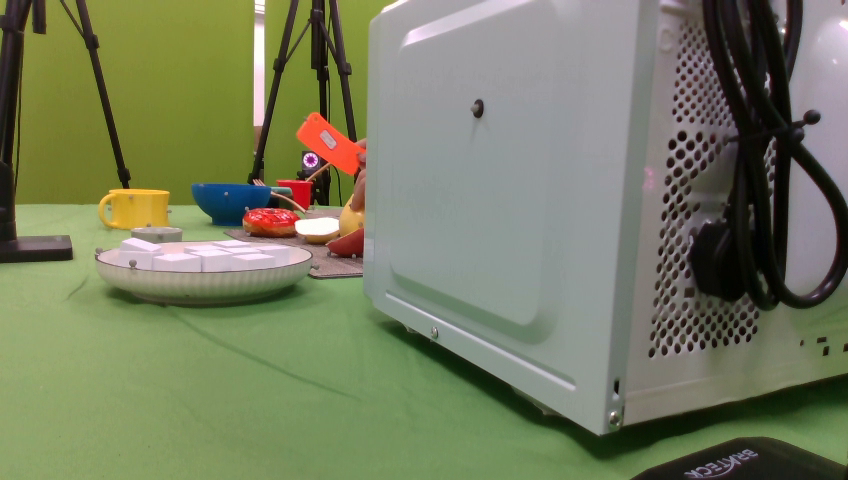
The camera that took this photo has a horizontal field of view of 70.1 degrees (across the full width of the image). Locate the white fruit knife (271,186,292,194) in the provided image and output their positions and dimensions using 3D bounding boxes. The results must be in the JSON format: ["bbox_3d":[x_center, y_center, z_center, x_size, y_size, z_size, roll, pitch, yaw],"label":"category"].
[{"bbox_3d":[-0.399,-0.111,1.368,0.208,0.016,0.027,-4,-20,-29],"label":"white fruit knife"}]

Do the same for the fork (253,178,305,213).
[{"bbox_3d":[-0.294,-0.084,1.293,0.206,0.018,0.028,29,11,26],"label":"fork"}]

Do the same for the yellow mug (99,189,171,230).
[{"bbox_3d":[-0.518,-0.055,1.080,0.099,0.064,0.131,7,9,26],"label":"yellow mug"}]

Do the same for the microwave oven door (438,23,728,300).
[{"bbox_3d":[0.181,-0.072,0.621,0.358,0.243,0.039,-2,8,-29],"label":"microwave oven door"}]

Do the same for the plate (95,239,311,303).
[{"bbox_3d":[-0.224,0.031,0.629,0.208,0.039,0.207,2,7,0],"label":"plate"}]

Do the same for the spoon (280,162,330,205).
[{"bbox_3d":[-0.316,-0.159,1.639,0.194,0.022,0.041,-49,32,-20],"label":"spoon"}]

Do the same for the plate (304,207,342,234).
[{"bbox_3d":[-0.123,-0.037,1.149,0.209,0.038,0.209,2,7,0],"label":"plate"}]

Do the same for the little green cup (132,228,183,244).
[{"bbox_3d":[-0.342,0.006,0.779,0.061,0.038,0.061,2,8,0],"label":"little green cup"}]

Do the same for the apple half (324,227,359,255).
[{"bbox_3d":[-0.095,0.002,0.848,0.081,0.033,0.081,-21,-1,0],"label":"apple half"}]

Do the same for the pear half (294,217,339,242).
[{"bbox_3d":[-0.173,-0.014,0.976,0.087,0.031,0.071,8,19,35],"label":"pear half"}]

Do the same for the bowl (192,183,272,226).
[{"bbox_3d":[-0.381,-0.071,1.202,0.151,0.077,0.151,3,7,0],"label":"bowl"}]

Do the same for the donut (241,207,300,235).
[{"bbox_3d":[-0.263,-0.031,1.039,0.099,0.048,0.099,4,10,0],"label":"donut"}]

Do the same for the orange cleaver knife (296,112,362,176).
[{"bbox_3d":[-0.138,-0.159,1.107,0.212,0.077,0.012,28,-24,-35],"label":"orange cleaver knife"}]

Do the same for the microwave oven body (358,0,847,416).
[{"bbox_3d":[0.211,-0.047,0.474,0.444,0.260,0.324,-1,7,-28],"label":"microwave oven body"}]

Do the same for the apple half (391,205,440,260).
[{"bbox_3d":[-0.005,-0.009,0.837,0.053,0.074,0.081,10,6,23],"label":"apple half"}]

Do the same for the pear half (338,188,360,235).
[{"bbox_3d":[-0.088,-0.042,0.921,0.055,0.110,0.077,10,14,34],"label":"pear half"}]

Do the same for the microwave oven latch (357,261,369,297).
[{"bbox_3d":[-0.019,0.033,0.531,0.079,0.029,0.030,-1,7,-27],"label":"microwave oven latch"}]
